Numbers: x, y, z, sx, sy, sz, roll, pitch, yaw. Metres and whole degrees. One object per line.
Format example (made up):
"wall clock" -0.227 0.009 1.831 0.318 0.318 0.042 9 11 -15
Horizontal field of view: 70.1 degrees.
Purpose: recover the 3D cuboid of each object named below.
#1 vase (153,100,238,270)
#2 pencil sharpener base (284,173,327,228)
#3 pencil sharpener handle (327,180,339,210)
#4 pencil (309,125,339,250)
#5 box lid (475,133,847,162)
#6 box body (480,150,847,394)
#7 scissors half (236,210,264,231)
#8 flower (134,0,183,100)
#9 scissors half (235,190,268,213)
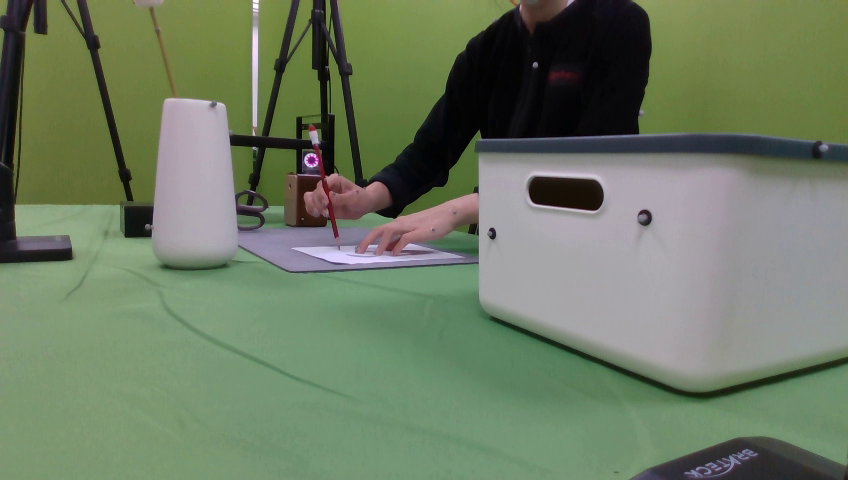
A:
"vase" -0.278 -0.066 0.736 0.098 0.200 0.098 2 9 0
"pencil sharpener base" -0.239 -0.081 1.231 0.077 0.107 0.061 -2 8 -36
"pencil sharpener handle" -0.194 -0.095 1.256 0.031 0.067 0.036 -2 -5 -36
"pencil" -0.149 -0.079 0.911 0.012 0.193 0.012 -13 -5 -1
"box lid" 0.255 -0.073 0.528 0.373 0.015 0.262 -2 8 -31
"box body" 0.254 0.002 0.539 0.366 0.160 0.253 -2 8 -31
"scissors half" -0.369 -0.051 1.065 0.176 0.040 0.012 19 13 -27
"flower" -0.282 -0.147 0.713 0.038 0.362 0.044 -23 24 -31
"scissors half" -0.363 -0.070 1.060 0.176 0.040 0.013 0 16 -23
